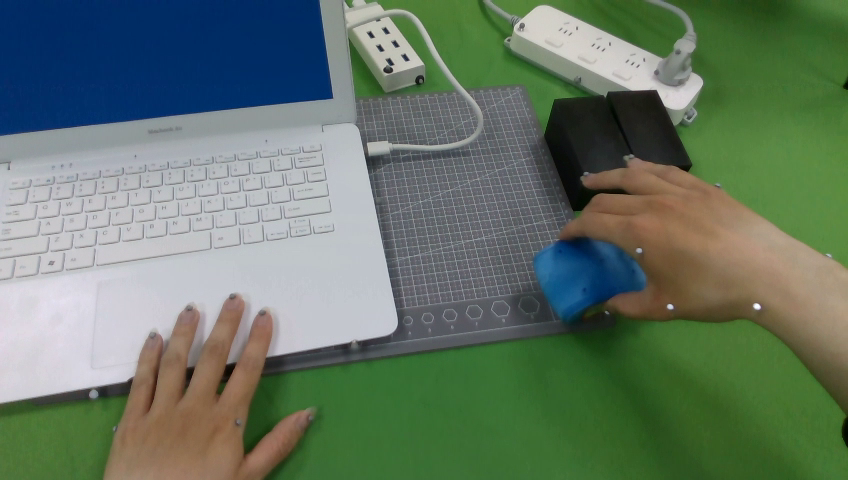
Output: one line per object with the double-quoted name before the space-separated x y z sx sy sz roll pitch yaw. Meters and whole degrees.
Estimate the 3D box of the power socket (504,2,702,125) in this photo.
"power socket" 0.196 -0.198 0.668 0.225 0.033 0.072 34 59 19

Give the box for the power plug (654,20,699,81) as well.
"power plug" 0.273 -0.191 0.639 0.072 0.053 0.035 -36 63 -22

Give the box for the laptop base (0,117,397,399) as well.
"laptop base" -0.215 0.004 0.514 0.355 0.023 0.233 -9 60 -9

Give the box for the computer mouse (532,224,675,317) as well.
"computer mouse" 0.148 0.020 0.491 0.117 0.041 0.062 -11 58 -20

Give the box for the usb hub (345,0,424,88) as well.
"usb hub" -0.049 -0.222 0.675 0.049 0.025 0.124 -22 59 -17

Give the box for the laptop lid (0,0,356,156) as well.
"laptop lid" -0.241 -0.180 0.497 0.357 0.244 0.013 -10 43 -8
